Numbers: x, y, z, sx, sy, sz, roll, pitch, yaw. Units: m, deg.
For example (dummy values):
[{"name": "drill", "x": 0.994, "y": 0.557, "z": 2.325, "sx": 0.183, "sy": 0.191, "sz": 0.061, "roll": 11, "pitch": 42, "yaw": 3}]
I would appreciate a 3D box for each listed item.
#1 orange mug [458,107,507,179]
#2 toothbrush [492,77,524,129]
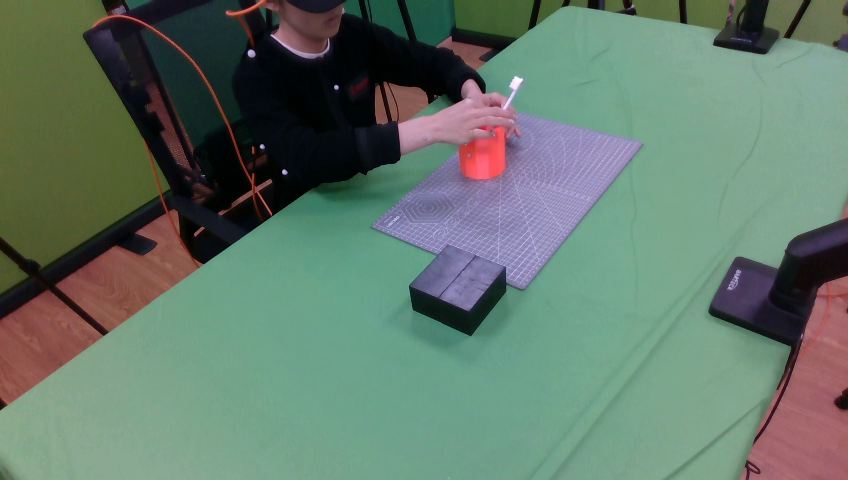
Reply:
[{"name": "orange mug", "x": 0.117, "y": -0.187, "z": 1.112, "sx": 0.083, "sy": 0.101, "sz": 0.126, "roll": 19, "pitch": 51, "yaw": 28}, {"name": "toothbrush", "x": 0.126, "y": -0.205, "z": 1.067, "sx": 0.016, "sy": 0.181, "sz": 0.014, "roll": 31, "pitch": 27, "yaw": 6}]
